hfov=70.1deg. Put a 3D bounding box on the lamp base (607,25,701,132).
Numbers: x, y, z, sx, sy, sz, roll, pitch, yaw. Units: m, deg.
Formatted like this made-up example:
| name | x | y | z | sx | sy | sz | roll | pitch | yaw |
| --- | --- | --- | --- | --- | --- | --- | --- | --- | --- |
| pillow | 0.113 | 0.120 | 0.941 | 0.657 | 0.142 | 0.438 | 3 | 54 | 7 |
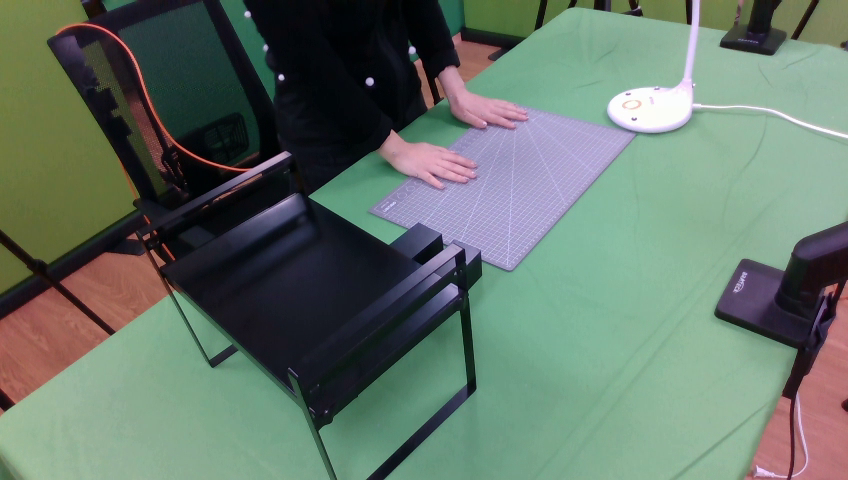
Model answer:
| name | x | y | z | sx | sy | sz | roll | pitch | yaw |
| --- | --- | --- | --- | --- | --- | --- | --- | --- | --- |
| lamp base | 0.454 | -0.321 | 1.160 | 0.179 | 0.181 | 0.159 | -6 | 41 | -2 |
